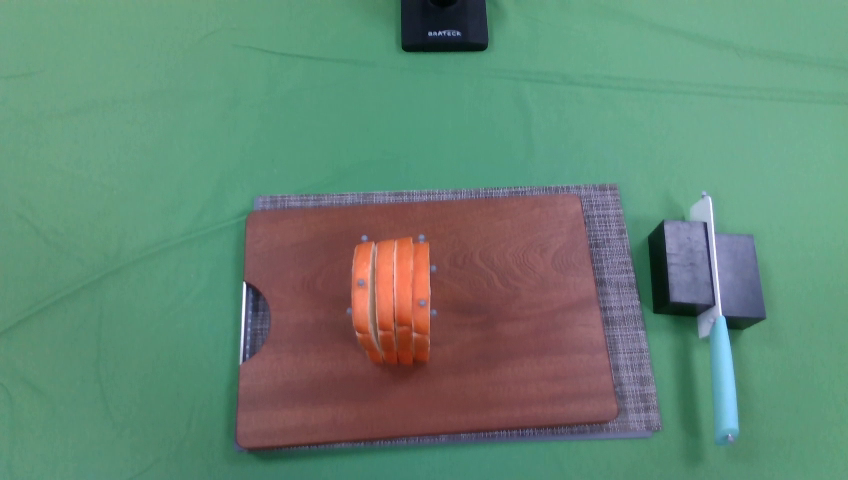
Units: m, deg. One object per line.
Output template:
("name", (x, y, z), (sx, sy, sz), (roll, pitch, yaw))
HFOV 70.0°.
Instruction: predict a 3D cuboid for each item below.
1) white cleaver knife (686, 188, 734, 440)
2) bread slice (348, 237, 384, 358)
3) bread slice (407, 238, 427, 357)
("white cleaver knife", (0.320, 0.077, 0.683), (0.021, 0.066, 0.284), (3, 70, 6))
("bread slice", (-0.058, 0.055, 0.615), (0.019, 0.132, 0.104), (-3, 67, 3))
("bread slice", (-0.008, 0.058, 0.613), (0.018, 0.135, 0.106), (-1, 73, -2))
